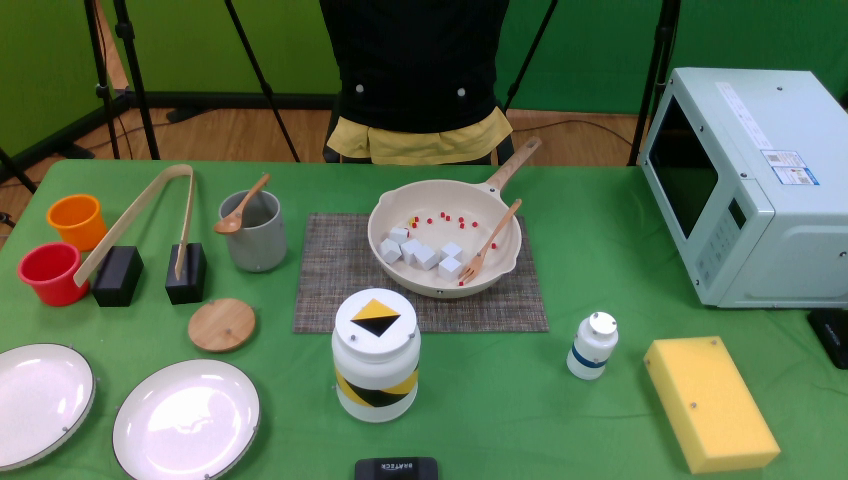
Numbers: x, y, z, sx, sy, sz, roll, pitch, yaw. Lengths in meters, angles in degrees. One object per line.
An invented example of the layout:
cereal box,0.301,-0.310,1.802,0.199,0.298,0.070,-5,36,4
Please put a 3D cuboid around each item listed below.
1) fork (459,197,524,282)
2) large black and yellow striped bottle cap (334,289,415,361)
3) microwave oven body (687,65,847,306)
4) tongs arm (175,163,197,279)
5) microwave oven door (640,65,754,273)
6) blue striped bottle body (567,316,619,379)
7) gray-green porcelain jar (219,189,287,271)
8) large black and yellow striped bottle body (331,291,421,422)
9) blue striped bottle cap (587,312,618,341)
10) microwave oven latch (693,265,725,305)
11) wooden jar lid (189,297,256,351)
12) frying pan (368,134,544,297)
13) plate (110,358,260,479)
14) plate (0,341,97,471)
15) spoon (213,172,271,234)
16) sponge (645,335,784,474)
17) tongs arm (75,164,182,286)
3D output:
fork,0.132,-0.004,1.158,0.028,0.019,0.207,29,76,29
large black and yellow striped bottle cap,-0.069,0.117,0.850,0.115,0.019,0.114,2,45,-2
microwave oven body,0.669,-0.111,1.176,0.326,0.261,0.439,0,46,-3
tongs arm,-0.462,-0.049,1.149,0.051,0.026,0.382,-8,36,-7
microwave oven door,0.523,-0.147,1.193,0.039,0.245,0.353,0,47,-3
blue striped bottle body,0.276,0.168,0.984,0.063,0.121,0.062,2,46,-2
gray-green porcelain jar,-0.310,-0.014,1.113,0.106,0.127,0.105,2,46,-2
large black and yellow striped bottle body,-0.071,0.175,0.911,0.131,0.185,0.130,2,47,-2
blue striped bottle cap,0.279,0.134,0.946,0.044,0.021,0.044,2,45,-2
microwave oven latch,0.523,0.082,1.116,0.030,0.029,0.078,2,46,-1
wooden jar lid,-0.342,0.145,1.033,0.108,0.021,0.107,2,45,-2
frying pan,0.104,-0.069,1.205,0.305,0.103,0.487,32,61,23
plate,-0.349,0.273,0.899,0.208,0.039,0.206,2,46,-2
plate,-0.599,0.247,0.904,0.209,0.038,0.208,2,47,-2
spoon,-0.312,-0.069,1.069,0.041,0.022,0.193,9,43,11
sponge,0.449,0.253,0.956,0.118,0.061,0.205,-4,46,-7
tongs arm,-0.547,-0.044,1.143,0.028,0.028,0.385,-3,34,7
